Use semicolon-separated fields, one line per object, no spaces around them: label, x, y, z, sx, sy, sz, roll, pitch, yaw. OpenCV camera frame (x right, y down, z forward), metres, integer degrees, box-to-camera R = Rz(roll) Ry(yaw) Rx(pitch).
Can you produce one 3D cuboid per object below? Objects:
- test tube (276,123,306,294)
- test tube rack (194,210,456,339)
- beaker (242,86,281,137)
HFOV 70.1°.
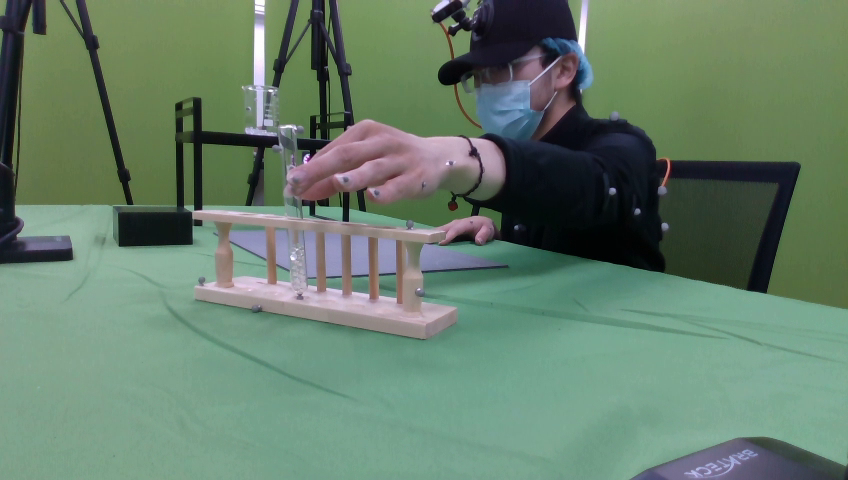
test tube;-0.116;-0.026;0.532;0.017;0.150;0.017;-3;7;1
test tube rack;-0.093;0.023;0.545;0.241;0.085;0.067;6;8;25
beaker;-0.338;-0.265;1.252;0.073;0.100;0.084;8;9;38
